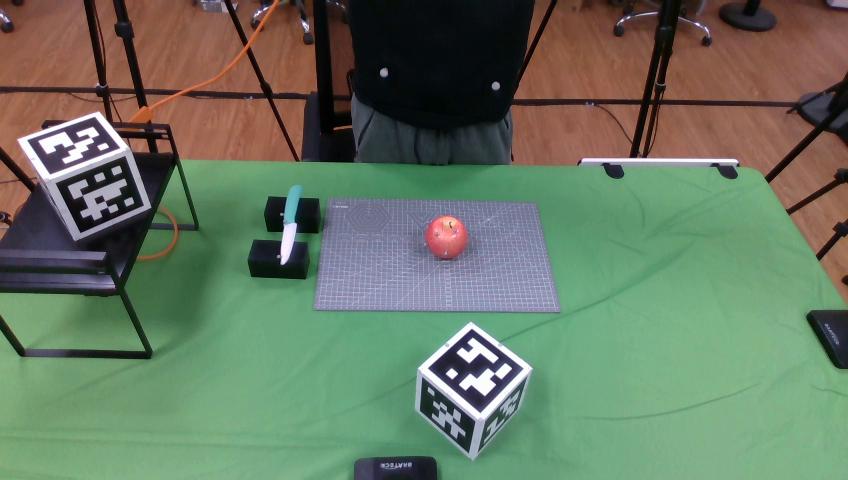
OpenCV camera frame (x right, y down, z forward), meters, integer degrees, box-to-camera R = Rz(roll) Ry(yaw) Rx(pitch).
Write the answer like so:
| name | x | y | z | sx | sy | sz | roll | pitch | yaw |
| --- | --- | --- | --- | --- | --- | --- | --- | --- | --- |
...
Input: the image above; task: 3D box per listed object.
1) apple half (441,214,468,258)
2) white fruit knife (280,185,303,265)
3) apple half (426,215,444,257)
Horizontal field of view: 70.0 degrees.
| name | x | y | z | sx | sy | sz | roll | pitch | yaw |
| --- | --- | --- | --- | --- | --- | --- | --- | --- | --- |
| apple half | 0.058 | -0.005 | 1.162 | 0.053 | 0.075 | 0.080 | 4 | 42 | -7 |
| white fruit knife | -0.253 | -0.032 | 1.142 | 0.027 | 0.016 | 0.206 | 7 | 46 | -9 |
| apple half | 0.019 | -0.006 | 1.158 | 0.033 | 0.081 | 0.081 | 4 | 46 | -7 |
